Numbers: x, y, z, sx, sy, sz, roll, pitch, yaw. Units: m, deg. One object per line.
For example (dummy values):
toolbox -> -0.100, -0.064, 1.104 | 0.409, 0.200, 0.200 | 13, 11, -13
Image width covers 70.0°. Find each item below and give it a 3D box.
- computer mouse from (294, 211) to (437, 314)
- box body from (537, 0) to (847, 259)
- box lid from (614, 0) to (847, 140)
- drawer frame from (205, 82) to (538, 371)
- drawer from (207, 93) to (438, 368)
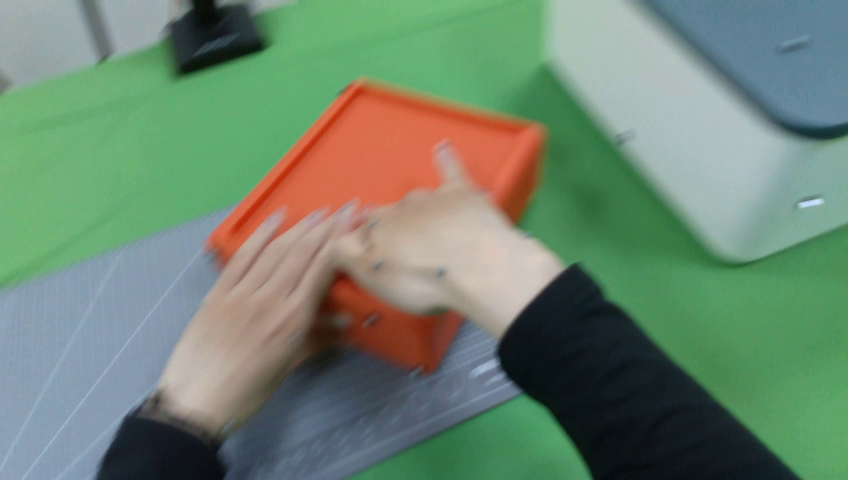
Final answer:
computer mouse -> -0.049, 0.015, 0.508 | 0.116, 0.041, 0.062 | 22, 54, 16
box body -> 0.286, -0.181, 0.551 | 0.254, 0.162, 0.360 | -20, 51, -9
box lid -> 0.279, -0.226, 0.492 | 0.263, 0.015, 0.367 | -20, 52, -9
drawer frame -> -0.036, -0.026, 0.517 | 0.200, 0.083, 0.212 | 18, 55, 21
drawer -> -0.036, -0.022, 0.517 | 0.193, 0.074, 0.211 | 18, 55, 21
